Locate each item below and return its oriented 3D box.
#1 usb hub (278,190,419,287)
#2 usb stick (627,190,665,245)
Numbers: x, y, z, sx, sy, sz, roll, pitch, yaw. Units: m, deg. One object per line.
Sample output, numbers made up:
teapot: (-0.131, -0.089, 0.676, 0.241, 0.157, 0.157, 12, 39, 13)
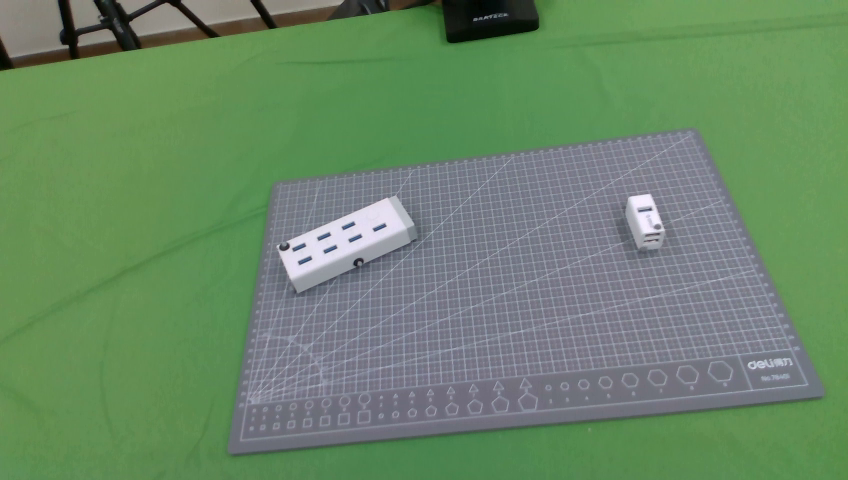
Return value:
usb hub: (-0.072, -0.003, 0.574, 0.125, 0.025, 0.049, -24, 52, -10)
usb stick: (0.198, -0.025, 0.546, 0.021, 0.027, 0.058, -8, 49, 5)
